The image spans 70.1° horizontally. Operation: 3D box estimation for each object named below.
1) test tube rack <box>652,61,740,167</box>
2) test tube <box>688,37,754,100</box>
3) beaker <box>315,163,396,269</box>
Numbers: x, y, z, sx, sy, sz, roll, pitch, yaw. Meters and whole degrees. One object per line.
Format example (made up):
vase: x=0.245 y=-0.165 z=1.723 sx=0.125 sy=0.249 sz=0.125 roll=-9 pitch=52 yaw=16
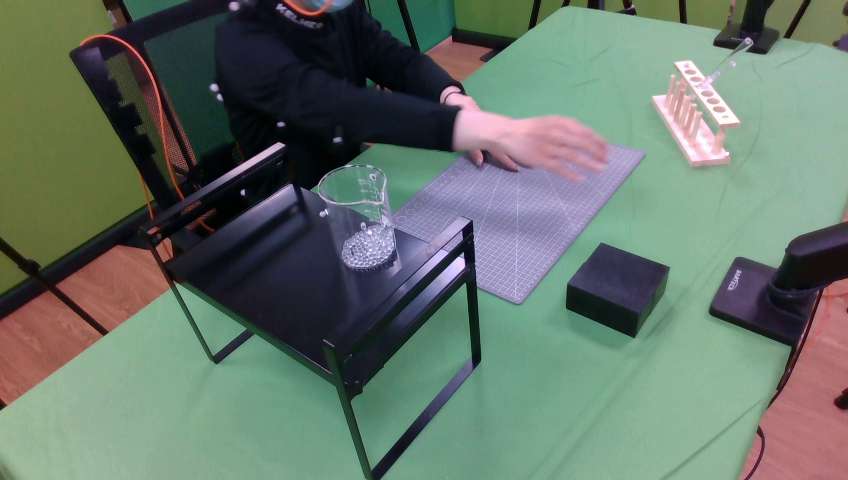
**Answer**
test tube rack: x=0.499 y=-0.241 z=1.130 sx=0.067 sy=0.085 sz=0.241 roll=-5 pitch=41 yaw=3
test tube: x=0.526 y=-0.301 z=1.077 sx=0.017 sy=0.150 sz=0.017 roll=10 pitch=58 yaw=-16
beaker: x=-0.070 y=-0.023 z=0.671 sx=0.083 sy=0.101 sz=0.074 roll=27 pitch=52 yaw=32
